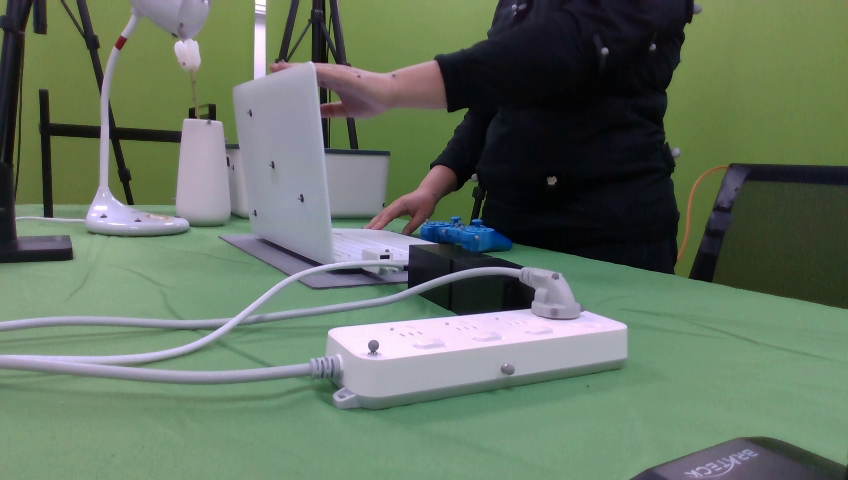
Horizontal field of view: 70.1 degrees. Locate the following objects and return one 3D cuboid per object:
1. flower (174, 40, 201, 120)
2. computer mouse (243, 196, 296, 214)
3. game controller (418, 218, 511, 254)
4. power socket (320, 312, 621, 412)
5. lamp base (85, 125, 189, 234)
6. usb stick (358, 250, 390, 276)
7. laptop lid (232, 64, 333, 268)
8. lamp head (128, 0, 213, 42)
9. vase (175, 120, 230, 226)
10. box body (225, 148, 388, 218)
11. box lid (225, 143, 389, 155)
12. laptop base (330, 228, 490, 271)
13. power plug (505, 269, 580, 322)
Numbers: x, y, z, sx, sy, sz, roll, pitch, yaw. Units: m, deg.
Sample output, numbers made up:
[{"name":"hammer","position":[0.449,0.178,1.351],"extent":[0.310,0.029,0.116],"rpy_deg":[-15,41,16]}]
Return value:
[{"name":"flower","position":[-0.430,-0.211,1.165],"extent":[0.044,0.361,0.038],"rpy_deg":[-10,-5,-22]},{"name":"computer mouse","position":[-0.362,-0.082,1.416],"extent":[0.117,0.041,0.063],"rpy_deg":[-3,10,5]},{"name":"game controller","position":[0.062,-0.008,1.027],"extent":[0.154,0.051,0.097],"rpy_deg":[9,14,43]},{"name":"power socket","position":[0.038,0.075,0.409],"extent":[0.228,0.032,0.072],"rpy_deg":[-2,8,-29]},{"name":"lamp base","position":[-0.498,-0.105,1.026],"extent":[0.179,0.180,0.160],"rpy_deg":[1,7,3]},{"name":"usb stick","position":[-0.062,0.026,0.708],"extent":[0.021,0.027,0.059],"rpy_deg":[-1,3,-29]},{"name":"laptop lid","position":[-0.205,-0.103,0.826],"extent":[0.013,0.241,0.355],"rpy_deg":[-10,14,-30]},{"name":"lamp head","position":[-0.423,-0.394,0.980],"extent":[0.123,0.112,0.112],"rpy_deg":[20,7,-3]},{"name":"vase","position":[-0.425,-0.128,1.158],"extent":[0.098,0.200,0.098],"rpy_deg":[2,9,0]},{"name":"box body","position":[-0.299,-0.143,1.473],"extent":[0.366,0.160,0.253],"rpy_deg":[-1,9,-30]},{"name":"box lid","position":[-0.297,-0.217,1.462],"extent":[0.373,0.015,0.262],"rpy_deg":[-2,8,-29]},{"name":"laptop base","position":[-0.096,0.011,0.912],"extent":[0.237,0.023,0.352],"rpy_deg":[2,7,-32]},{"name":"power plug","position":[0.092,0.051,0.469],"extent":[0.035,0.052,0.072],"rpy_deg":[-1,6,-15]}]
